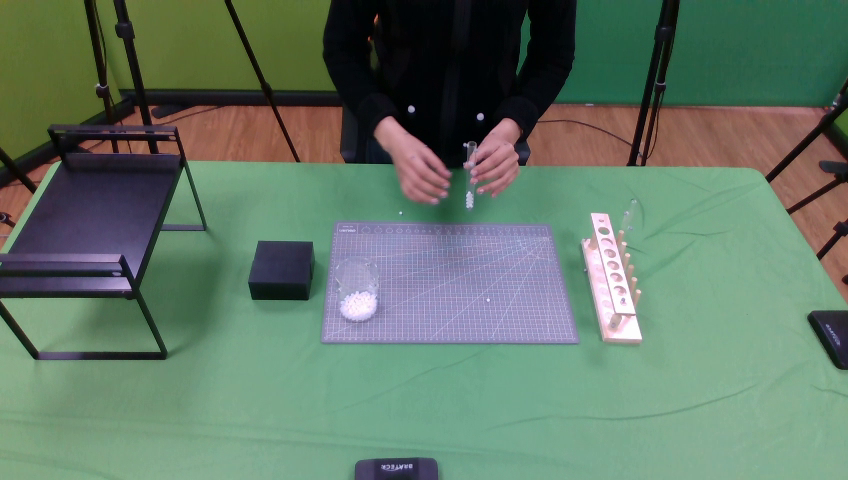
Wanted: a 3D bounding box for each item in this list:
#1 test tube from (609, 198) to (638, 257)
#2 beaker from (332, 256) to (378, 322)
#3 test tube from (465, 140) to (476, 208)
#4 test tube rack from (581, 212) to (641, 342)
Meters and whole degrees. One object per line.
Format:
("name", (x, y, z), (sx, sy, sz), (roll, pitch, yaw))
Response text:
("test tube", (0.375, -0.021, 1.141), (0.017, 0.151, 0.017), (2, 45, -1))
("beaker", (-0.114, 0.089, 1.047), (0.083, 0.101, 0.074), (30, 52, 21))
("test tube", (0.082, -0.112, 1.071), (0.017, 0.151, 0.017), (-1, 47, 1))
("test tube rack", (0.351, 0.064, 1.121), (0.067, 0.085, 0.241), (3, 46, -1))
